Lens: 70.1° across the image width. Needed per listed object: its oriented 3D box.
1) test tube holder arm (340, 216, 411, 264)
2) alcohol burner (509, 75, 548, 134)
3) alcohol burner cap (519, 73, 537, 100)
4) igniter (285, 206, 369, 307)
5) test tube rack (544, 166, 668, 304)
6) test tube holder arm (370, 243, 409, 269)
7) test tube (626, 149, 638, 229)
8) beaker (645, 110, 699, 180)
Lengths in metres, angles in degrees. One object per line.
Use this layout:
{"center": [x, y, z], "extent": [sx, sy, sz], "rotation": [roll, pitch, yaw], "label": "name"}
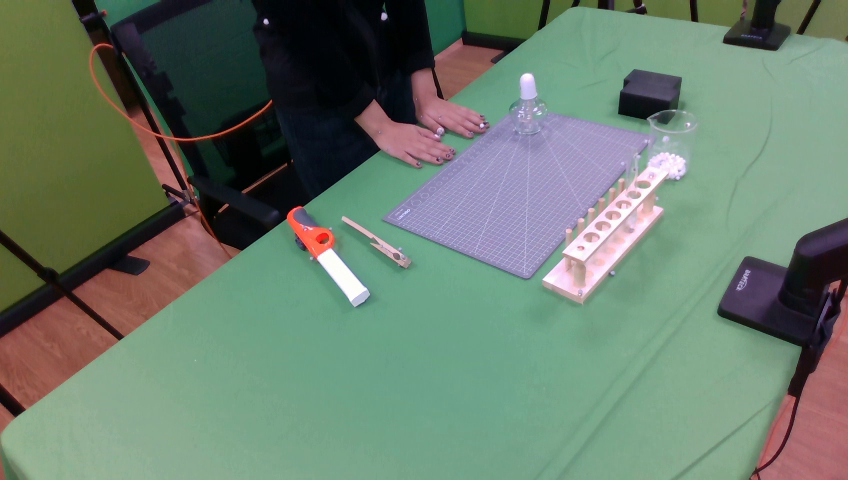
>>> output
{"center": [-0.083, -0.002, 1.000], "extent": [0.177, 0.015, 0.013], "rotation": [33, 87, 40], "label": "test tube holder arm"}
{"center": [0.204, -0.270, 1.186], "extent": [0.078, 0.119, 0.077], "rotation": [-5, 42, 5], "label": "alcohol burner"}
{"center": [0.198, -0.298, 1.163], "extent": [0.034, 0.048, 0.033], "rotation": [-9, 37, 8], "label": "alcohol burner cap"}
{"center": [-0.166, 0.018, 0.986], "extent": [0.057, 0.025, 0.274], "rotation": [-34, 45, -13], "label": "igniter"}
{"center": [0.274, -0.018, 0.903], "extent": [0.066, 0.085, 0.243], "rotation": [26, 51, 35], "label": "test tube rack"}
{"center": [-0.057, 0.022, 0.971], "extent": [0.087, 0.015, 0.010], "rotation": [34, 88, 40], "label": "test tube holder arm"}
{"center": [0.304, -0.071, 0.882], "extent": [0.017, 0.151, 0.017], "rotation": [-9, 44, 10], "label": "test tube"}
{"center": [0.417, -0.160, 1.033], "extent": [0.083, 0.101, 0.074], "rotation": [25, 51, 35], "label": "beaker"}
